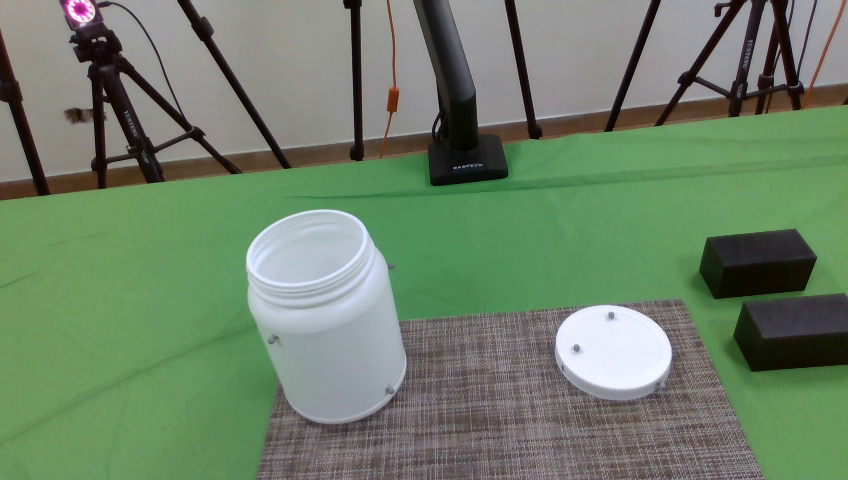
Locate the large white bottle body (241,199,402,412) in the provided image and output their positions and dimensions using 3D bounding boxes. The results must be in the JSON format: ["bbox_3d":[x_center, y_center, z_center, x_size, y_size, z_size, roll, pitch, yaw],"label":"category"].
[{"bbox_3d":[-0.097,0.064,0.591,0.130,0.186,0.129,-5,40,4],"label":"large white bottle body"}]

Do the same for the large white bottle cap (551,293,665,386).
[{"bbox_3d":[0.191,0.100,0.631,0.115,0.018,0.113,-4,40,4],"label":"large white bottle cap"}]
